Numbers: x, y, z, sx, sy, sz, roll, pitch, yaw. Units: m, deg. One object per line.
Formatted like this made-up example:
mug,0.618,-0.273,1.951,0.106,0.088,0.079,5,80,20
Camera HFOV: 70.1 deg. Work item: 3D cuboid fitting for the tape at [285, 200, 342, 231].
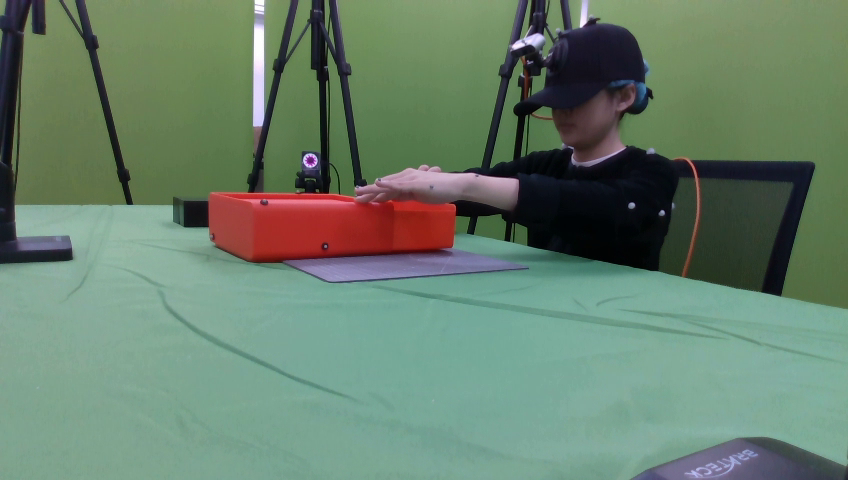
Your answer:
tape,-0.223,-0.051,1.221,0.117,0.052,0.117,3,7,0

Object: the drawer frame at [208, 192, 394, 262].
drawer frame,-0.185,-0.026,0.900,0.215,0.082,0.200,-3,10,-35

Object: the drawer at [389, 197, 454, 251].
drawer,-0.092,-0.028,0.964,0.213,0.073,0.193,-2,10,-34
